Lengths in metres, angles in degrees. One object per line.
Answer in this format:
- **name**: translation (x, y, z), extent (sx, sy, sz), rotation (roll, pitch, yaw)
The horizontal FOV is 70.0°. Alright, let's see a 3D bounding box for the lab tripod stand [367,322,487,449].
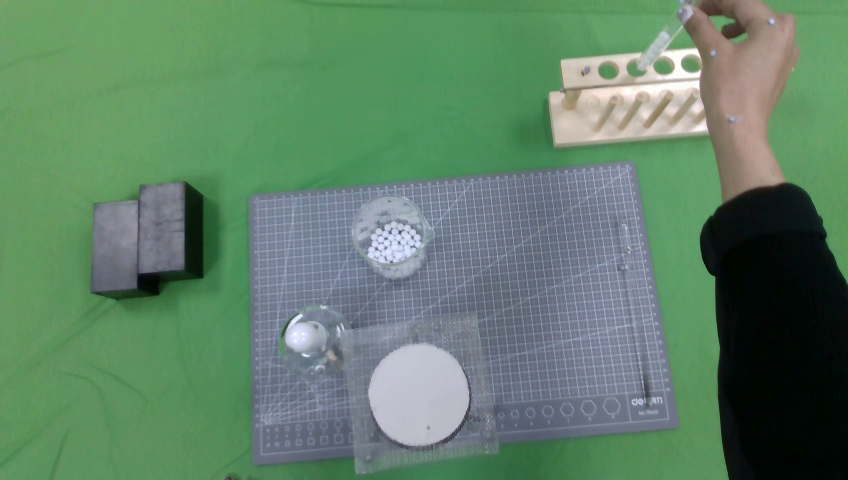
- **lab tripod stand**: translation (-0.005, 0.145, 0.589), extent (0.148, 0.132, 0.147), rotation (-1, 76, 3)

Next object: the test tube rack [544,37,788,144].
- **test tube rack**: translation (0.265, -0.164, 0.678), extent (0.242, 0.085, 0.066), rotation (-5, 77, 1)

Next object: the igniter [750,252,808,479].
- **igniter**: translation (0.370, 0.149, 0.636), extent (0.057, 0.025, 0.275), rotation (4, 78, -8)

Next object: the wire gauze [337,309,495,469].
- **wire gauze**: translation (-0.008, 0.127, 0.524), extent (0.125, 0.011, 0.121), rotation (-8, 76, 0)

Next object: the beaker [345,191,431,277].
- **beaker**: translation (-0.034, -0.002, 0.639), extent (0.084, 0.100, 0.073), rotation (4, 78, 2)

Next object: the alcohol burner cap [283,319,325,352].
- **alcohol burner cap**: translation (-0.116, 0.091, 0.577), extent (0.034, 0.048, 0.033), rotation (-1, 81, 7)

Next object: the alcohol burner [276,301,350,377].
- **alcohol burner**: translation (-0.115, 0.098, 0.612), extent (0.078, 0.120, 0.077), rotation (0, 75, 2)

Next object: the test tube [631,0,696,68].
- **test tube**: translation (0.220, -0.196, 0.554), extent (0.017, 0.150, 0.017), rotation (0, 81, 0)

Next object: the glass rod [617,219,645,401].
- **glass rod**: translation (0.227, 0.074, 0.662), extent (0.008, 0.008, 0.199), rotation (-4, 80, 0)
